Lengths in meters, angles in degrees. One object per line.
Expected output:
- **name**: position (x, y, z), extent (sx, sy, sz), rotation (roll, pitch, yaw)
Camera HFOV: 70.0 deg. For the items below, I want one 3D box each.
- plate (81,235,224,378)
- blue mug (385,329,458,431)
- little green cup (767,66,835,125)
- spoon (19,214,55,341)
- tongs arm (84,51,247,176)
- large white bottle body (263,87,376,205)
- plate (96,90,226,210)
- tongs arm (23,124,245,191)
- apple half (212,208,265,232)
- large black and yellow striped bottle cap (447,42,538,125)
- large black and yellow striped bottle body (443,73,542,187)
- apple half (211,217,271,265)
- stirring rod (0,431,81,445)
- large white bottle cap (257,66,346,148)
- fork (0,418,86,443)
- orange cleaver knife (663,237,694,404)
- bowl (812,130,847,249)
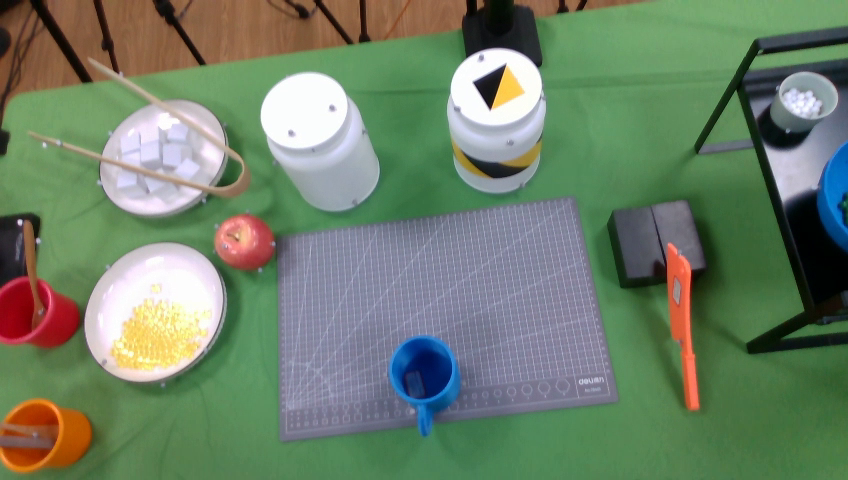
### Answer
- **plate**: position (-0.386, 0.095, 0.875), extent (0.209, 0.038, 0.207), rotation (-2, 70, 6)
- **blue mug**: position (-0.001, 0.181, 0.765), extent (0.082, 0.106, 0.116), rotation (0, 70, 6)
- **little green cup**: position (0.425, -0.162, 0.688), extent (0.061, 0.039, 0.061), rotation (-2, 70, 6)
- **spoon**: position (-0.549, 0.056, 0.850), extent (0.041, 0.021, 0.195), rotation (12, 116, 11)
- **tongs arm**: position (-0.413, -0.208, 0.955), extent (0.385, 0.028, 0.028), rotation (33, 70, 18)
- **large white bottle body**: position (-0.147, -0.142, 0.857), extent (0.130, 0.186, 0.129), rotation (-2, 69, 6)
- **plate**: position (-0.412, -0.139, 0.963), extent (0.207, 0.039, 0.206), rotation (-2, 70, 5)
- **tongs arm**: position (-0.452, -0.138, 0.932), extent (0.383, 0.027, 0.050), rotation (19, 70, 15)
- **apple half**: position (-0.272, -0.026, 0.887), extent (0.081, 0.082, 0.032), rotation (-21, 74, -1)
- **large black and yellow striped bottle cap**: position (0.086, -0.199, 0.763), extent (0.115, 0.019, 0.114), rotation (-1, 71, 4)
- **large black and yellow striped bottle body**: position (0.096, -0.168, 0.841), extent (0.130, 0.185, 0.130), rotation (-2, 69, 6)
- **apple half**: position (-0.259, 0.008, 0.875), extent (0.081, 0.075, 0.053), rotation (-20, 73, -5)
- **stirring rod**: position (-0.540, 0.252, 0.778), extent (0.177, 0.006, 0.014), rotation (15, 54, -32)
- **large white bottle cap**: position (-0.157, -0.172, 0.778), extent (0.115, 0.018, 0.114), rotation (-2, 70, 6)
- **fork**: position (-0.551, 0.234, 0.783), extent (0.209, 0.018, 0.028), rotation (24, 68, -32)
- **orange cleaver knife**: position (0.322, 0.102, 0.772), extent (0.012, 0.077, 0.212), rotation (-8, 101, 3)
- **bowl**: position (0.467, -0.038, 0.620), extent (0.151, 0.077, 0.150), rotation (-2, 70, 6)
